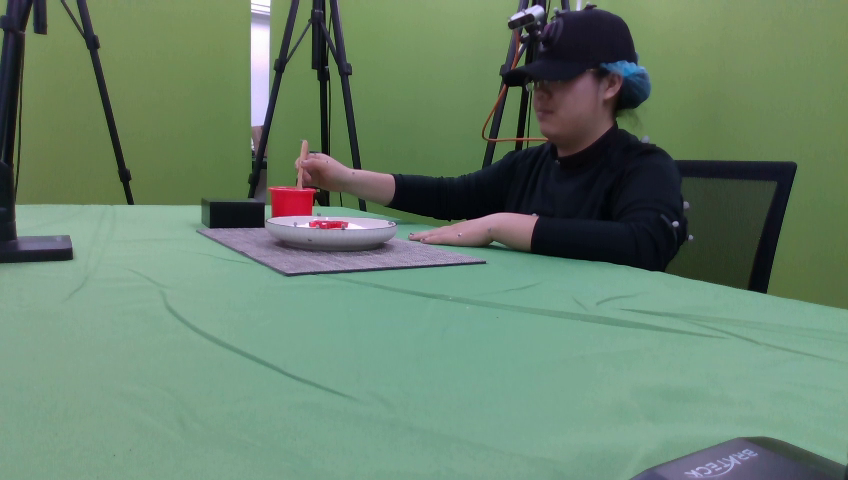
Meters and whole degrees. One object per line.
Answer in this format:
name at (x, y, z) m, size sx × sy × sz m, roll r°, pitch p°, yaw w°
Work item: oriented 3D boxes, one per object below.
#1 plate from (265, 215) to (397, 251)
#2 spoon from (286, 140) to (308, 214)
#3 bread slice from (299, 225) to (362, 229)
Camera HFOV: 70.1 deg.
plate at (-0.147, -0.012, 0.963) m, size 0.209 × 0.038 × 0.209 m, roll 3°, pitch 7°, yaw 0°
spoon at (-0.263, -0.137, 1.288) m, size 0.041 × 0.193 × 0.021 m, roll 1°, pitch -24°, yaw 1°
bread slice at (-0.154, -0.012, 0.973) m, size 0.132 × 0.019 × 0.104 m, roll -1°, pitch 7°, yaw -31°
